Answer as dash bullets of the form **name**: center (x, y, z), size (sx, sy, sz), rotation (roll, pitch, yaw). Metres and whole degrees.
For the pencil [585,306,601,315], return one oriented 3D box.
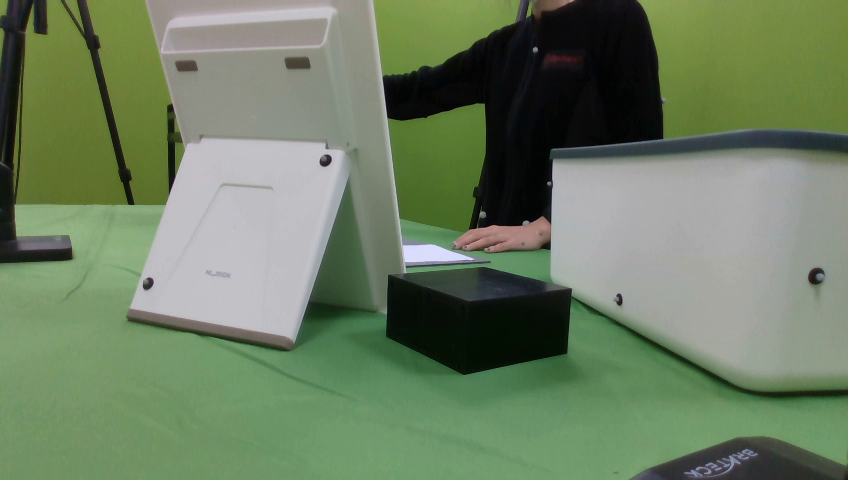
- **pencil**: center (0.250, 0.055, 0.656), size (0.195, 0.012, 0.012), rotation (-11, 13, -27)

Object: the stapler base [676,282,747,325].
- **stapler base**: center (0.283, 0.057, 0.584), size (0.041, 0.024, 0.131), rotation (32, 19, 33)

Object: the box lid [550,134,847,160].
- **box lid**: center (0.294, -0.071, 0.538), size (0.264, 0.015, 0.370), rotation (2, 6, -10)

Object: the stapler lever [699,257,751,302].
- **stapler lever**: center (0.291, 0.035, 0.580), size (0.026, 0.040, 0.119), rotation (32, 21, 33)

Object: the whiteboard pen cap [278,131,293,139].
- **whiteboard pen cap**: center (-0.312, -0.236, 1.357), size (0.033, 0.018, 0.018), rotation (6, 8, 23)

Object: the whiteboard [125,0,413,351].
- **whiteboard**: center (-0.151, -0.050, 0.471), size (0.216, 0.305, 0.144), rotation (6, 27, 24)

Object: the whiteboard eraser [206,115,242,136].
- **whiteboard eraser**: center (-0.438, -0.249, 1.320), size (0.056, 0.042, 0.112), rotation (-3, 9, -30)

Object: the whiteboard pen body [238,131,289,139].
- **whiteboard pen body**: center (-0.366, -0.240, 1.380), size (0.140, 0.017, 0.017), rotation (6, 8, 24)

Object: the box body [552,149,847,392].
- **box body**: center (0.290, 0.002, 0.549), size (0.255, 0.160, 0.363), rotation (2, 7, -10)
